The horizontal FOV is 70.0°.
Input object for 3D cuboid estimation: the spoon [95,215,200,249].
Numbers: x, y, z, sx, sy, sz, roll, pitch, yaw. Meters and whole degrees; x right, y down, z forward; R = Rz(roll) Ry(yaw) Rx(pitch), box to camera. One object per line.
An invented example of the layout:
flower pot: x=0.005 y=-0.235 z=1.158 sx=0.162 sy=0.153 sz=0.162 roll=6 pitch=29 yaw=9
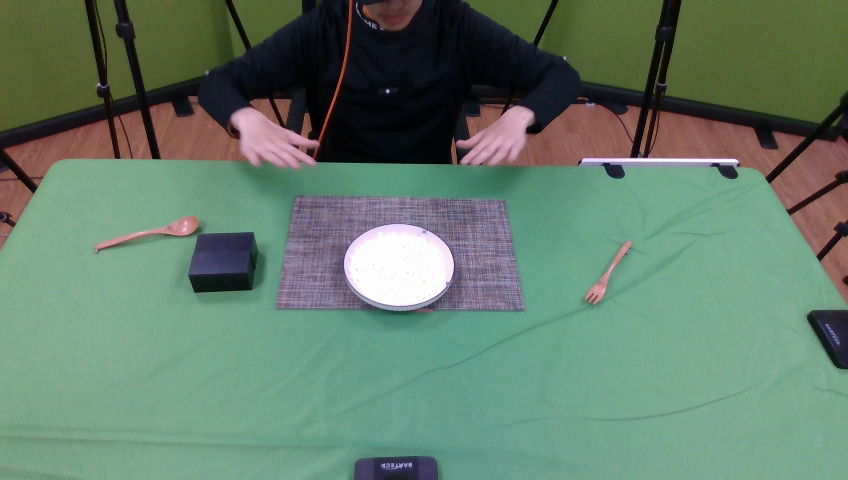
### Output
spoon: x=-0.531 y=-0.014 z=1.168 sx=0.194 sy=0.022 sz=0.041 roll=-13 pitch=64 yaw=-16

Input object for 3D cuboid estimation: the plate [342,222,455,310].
plate: x=-0.047 y=0.052 z=1.127 sx=0.209 sy=0.038 sz=0.208 roll=2 pitch=46 yaw=-2

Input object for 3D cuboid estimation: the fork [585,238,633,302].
fork: x=0.362 y=0.055 z=1.171 sx=0.028 sy=0.019 sz=0.207 roll=21 pitch=49 yaw=29
